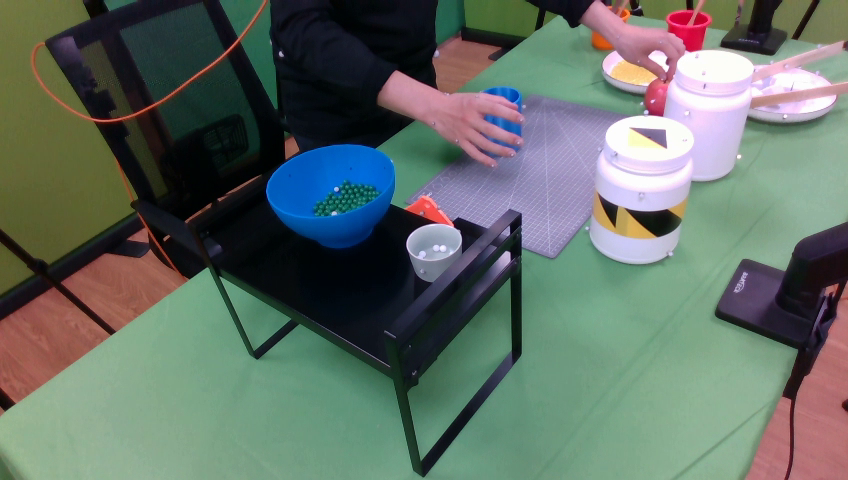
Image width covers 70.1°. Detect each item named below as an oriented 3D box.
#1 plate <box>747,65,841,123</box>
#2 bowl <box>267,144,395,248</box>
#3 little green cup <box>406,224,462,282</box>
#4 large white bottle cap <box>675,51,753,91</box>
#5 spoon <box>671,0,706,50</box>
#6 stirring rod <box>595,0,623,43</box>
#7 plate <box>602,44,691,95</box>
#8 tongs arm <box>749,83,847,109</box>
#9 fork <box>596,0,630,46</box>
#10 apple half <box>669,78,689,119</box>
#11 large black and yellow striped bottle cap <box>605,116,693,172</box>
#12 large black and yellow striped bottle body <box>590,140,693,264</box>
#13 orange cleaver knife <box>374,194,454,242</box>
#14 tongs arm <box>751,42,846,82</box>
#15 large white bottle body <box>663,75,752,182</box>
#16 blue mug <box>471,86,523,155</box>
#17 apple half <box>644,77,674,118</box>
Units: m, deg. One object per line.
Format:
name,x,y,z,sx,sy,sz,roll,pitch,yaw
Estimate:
plate,0.695,-0.282,1.189,0.207,0.039,0.206,-4,40,4
bowl,-0.104,-0.043,0.726,0.151,0.077,0.150,-4,40,4
little green cup,0.013,0.015,0.668,0.061,0.039,0.061,-4,40,4
large white bottle cap,0.463,-0.271,0.967,0.115,0.018,0.114,-4,40,3
spoon,0.629,-0.520,1.394,0.041,0.022,0.193,30,96,34
stirring rod,0.460,-0.556,1.459,0.014,0.006,0.176,30,93,24
plate,0.495,-0.367,1.317,0.209,0.038,0.208,-4,40,4
tongs arm,0.734,-0.280,1.133,0.388,0.028,0.028,-9,47,-5
fork,0.481,-0.556,1.452,0.028,0.019,0.207,40,103,40
apple half,0.499,-0.275,1.181,0.032,0.081,0.081,8,43,25
large black and yellow striped bottle cap,0.309,-0.134,0.833,0.115,0.019,0.114,-5,40,5
large black and yellow striped bottle body,0.317,-0.071,0.889,0.131,0.185,0.130,-4,41,4
orange cleaver knife,-0.032,-0.027,0.965,0.210,0.077,0.012,-9,28,51
tongs arm,0.708,-0.331,1.193,0.386,0.026,0.050,-18,45,-16
large white bottle body,0.472,-0.207,1.022,0.130,0.185,0.130,-4,41,4
blue mug,0.135,-0.235,1.163,0.082,0.106,0.115,-36,48,-29
apple half,0.463,-0.281,1.195,0.053,0.075,0.081,8,42,23
